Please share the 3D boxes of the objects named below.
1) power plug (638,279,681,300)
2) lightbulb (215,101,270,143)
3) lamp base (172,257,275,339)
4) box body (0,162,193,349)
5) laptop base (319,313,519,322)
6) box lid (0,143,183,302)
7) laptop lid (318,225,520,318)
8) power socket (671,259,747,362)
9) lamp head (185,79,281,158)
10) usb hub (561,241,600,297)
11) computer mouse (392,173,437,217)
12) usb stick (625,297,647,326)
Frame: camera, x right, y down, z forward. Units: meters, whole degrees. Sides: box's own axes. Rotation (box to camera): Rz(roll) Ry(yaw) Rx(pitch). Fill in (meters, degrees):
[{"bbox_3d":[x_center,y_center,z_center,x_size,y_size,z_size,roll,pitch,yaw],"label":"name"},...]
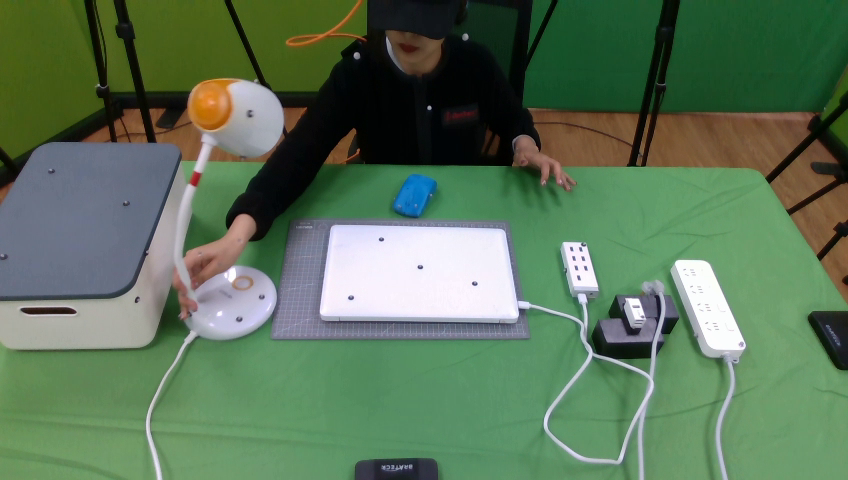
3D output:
[{"bbox_3d":[0.434,0.099,1.119,0.073,0.053,0.035,34,38,-16],"label":"power plug"},{"bbox_3d":[-0.267,-0.177,0.881,0.059,0.108,0.059,-1,85,15],"label":"lightbulb"},{"bbox_3d":[-0.344,0.062,1.001,0.160,0.181,0.178,20,50,16],"label":"lamp base"},{"bbox_3d":[-0.570,0.006,1.054,0.254,0.161,0.361,-1,46,-4],"label":"box body"},{"bbox_3d":[-0.009,0.063,1.137,0.354,0.023,0.234,1,42,-3],"label":"laptop base"},{"bbox_3d":[-0.567,-0.045,0.999,0.263,0.015,0.369,-1,46,-4],"label":"box lid"},{"bbox_3d":[-0.009,0.052,1.130,0.357,0.013,0.240,2,44,-2],"label":"laptop lid"},{"bbox_3d":[0.517,0.119,1.108,0.072,0.033,0.225,1,46,-2],"label":"power socket"},{"bbox_3d":[-0.281,-0.176,0.861,0.112,0.112,0.123,18,9,14],"label":"lamp head"},{"bbox_3d":[0.300,0.055,1.161,0.049,0.025,0.124,2,46,-3],"label":"usb hub"},{"bbox_3d":[-0.018,-0.099,1.282,0.062,0.041,0.117,20,52,12],"label":"computer mouse"},{"bbox_3d":[0.360,0.117,1.034,0.021,0.027,0.059,-2,44,-2],"label":"usb stick"}]
